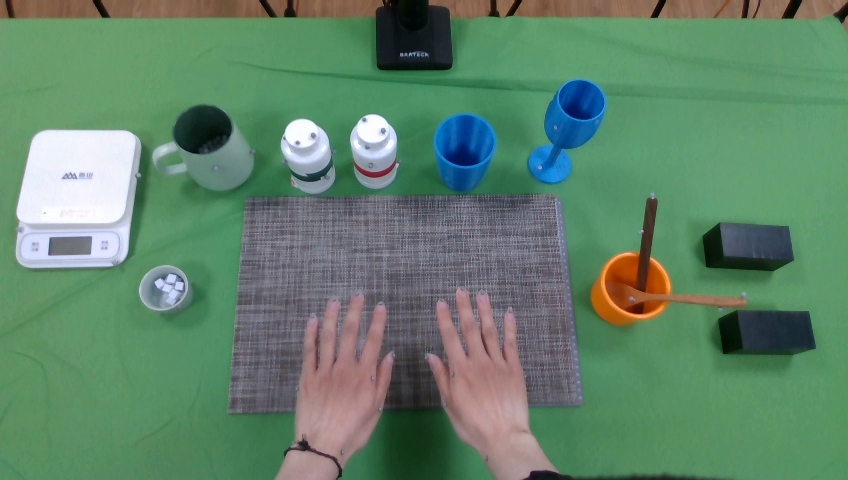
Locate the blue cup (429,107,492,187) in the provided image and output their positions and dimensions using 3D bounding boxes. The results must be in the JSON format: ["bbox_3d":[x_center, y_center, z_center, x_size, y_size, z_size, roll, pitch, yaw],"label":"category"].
[{"bbox_3d":[0.048,-0.122,0.854,0.092,0.101,0.092,0,71,-1],"label":"blue cup"}]

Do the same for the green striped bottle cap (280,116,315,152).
[{"bbox_3d":[-0.164,-0.138,0.782,0.044,0.020,0.044,1,70,-3],"label":"green striped bottle cap"}]

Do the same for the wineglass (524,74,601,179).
[{"bbox_3d":[0.186,-0.151,0.833,0.074,0.173,0.073,1,70,-2],"label":"wineglass"}]

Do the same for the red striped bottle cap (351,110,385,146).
[{"bbox_3d":[-0.073,-0.147,0.790,0.044,0.018,0.044,1,73,-2],"label":"red striped bottle cap"}]

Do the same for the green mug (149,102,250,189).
[{"bbox_3d":[-0.310,-0.122,0.832,0.125,0.105,0.092,-22,73,-10],"label":"green mug"}]

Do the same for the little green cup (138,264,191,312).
[{"bbox_3d":[-0.339,0.066,0.799,0.061,0.039,0.061,2,70,-4],"label":"little green cup"}]

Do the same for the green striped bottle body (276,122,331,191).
[{"bbox_3d":[-0.165,-0.119,0.831,0.063,0.120,0.063,1,70,-2],"label":"green striped bottle body"}]

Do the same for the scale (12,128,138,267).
[{"bbox_3d":[-0.482,-0.062,0.839,0.149,0.032,0.199,-1,71,-3],"label":"scale"}]

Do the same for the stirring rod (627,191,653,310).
[{"bbox_3d":[0.281,0.018,0.792,0.014,0.177,0.006,3,29,12],"label":"stirring rod"}]

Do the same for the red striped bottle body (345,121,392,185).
[{"bbox_3d":[-0.076,-0.128,0.839,0.063,0.120,0.062,1,70,-3],"label":"red striped bottle body"}]

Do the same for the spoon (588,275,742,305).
[{"bbox_3d":[0.302,0.067,0.776,0.022,0.192,0.041,23,73,-41],"label":"spoon"}]
